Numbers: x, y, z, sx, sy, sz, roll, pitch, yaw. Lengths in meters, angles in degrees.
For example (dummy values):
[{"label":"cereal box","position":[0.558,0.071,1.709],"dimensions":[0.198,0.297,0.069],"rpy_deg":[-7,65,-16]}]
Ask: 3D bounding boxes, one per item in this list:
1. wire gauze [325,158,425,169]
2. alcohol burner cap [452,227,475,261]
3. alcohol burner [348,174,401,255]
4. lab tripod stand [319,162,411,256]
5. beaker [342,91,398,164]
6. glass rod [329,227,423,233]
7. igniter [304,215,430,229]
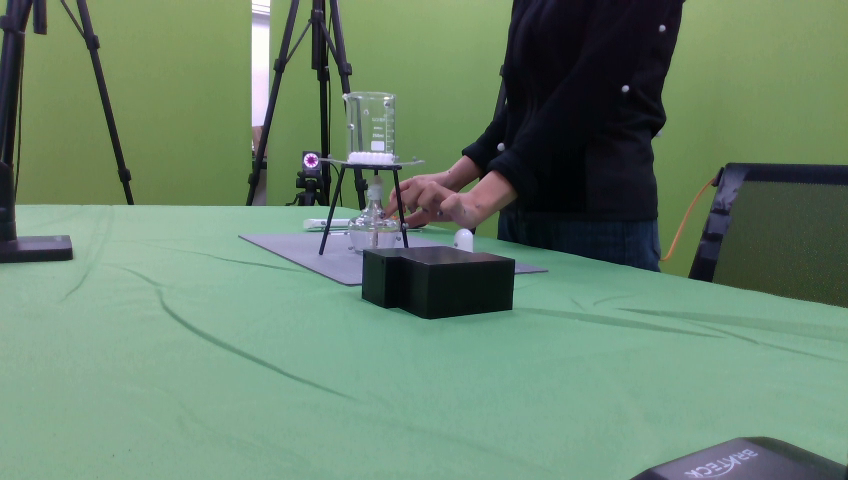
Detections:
[{"label":"wire gauze","position":[-0.080,-0.112,0.869],"dimensions":[0.122,0.011,0.124],"rpy_deg":[-6,12,-35]},{"label":"alcohol burner cap","position":[0.057,0.005,0.873],"dimensions":[0.034,0.048,0.034],"rpy_deg":[3,8,0]},{"label":"alcohol burner","position":[-0.073,-0.037,0.885],"dimensions":[0.078,0.119,0.078],"rpy_deg":[2,9,0]},{"label":"lab tripod stand","position":[-0.081,-0.047,0.879],"dimensions":[0.148,0.131,0.148],"rpy_deg":[2,9,0]},{"label":"beaker","position":[-0.079,-0.160,0.867],"dimensions":[0.084,0.100,0.073],"rpy_deg":[-5,10,-34]},{"label":"glass rod","position":[-0.087,-0.019,1.148],"dimensions":[0.201,0.008,0.008],"rpy_deg":[-3,8,-32]},{"label":"igniter","position":[-0.109,-0.037,1.228],"dimensions":[0.278,0.025,0.057],"rpy_deg":[-3,-1,-35]}]
